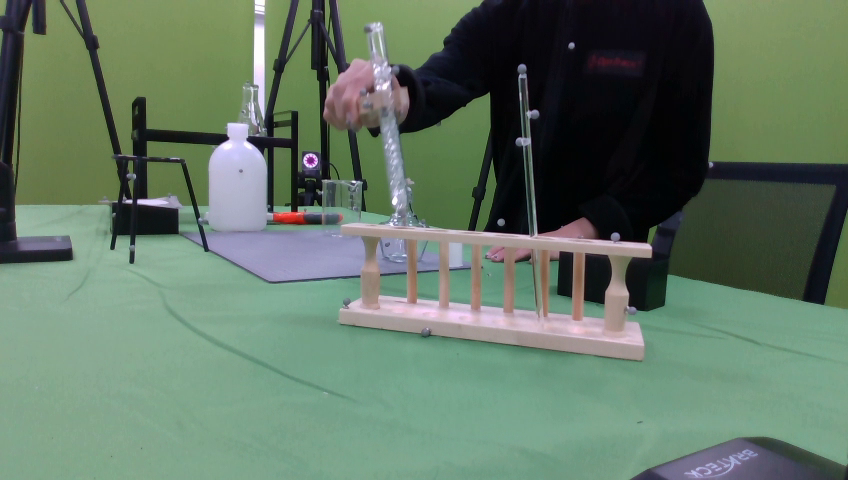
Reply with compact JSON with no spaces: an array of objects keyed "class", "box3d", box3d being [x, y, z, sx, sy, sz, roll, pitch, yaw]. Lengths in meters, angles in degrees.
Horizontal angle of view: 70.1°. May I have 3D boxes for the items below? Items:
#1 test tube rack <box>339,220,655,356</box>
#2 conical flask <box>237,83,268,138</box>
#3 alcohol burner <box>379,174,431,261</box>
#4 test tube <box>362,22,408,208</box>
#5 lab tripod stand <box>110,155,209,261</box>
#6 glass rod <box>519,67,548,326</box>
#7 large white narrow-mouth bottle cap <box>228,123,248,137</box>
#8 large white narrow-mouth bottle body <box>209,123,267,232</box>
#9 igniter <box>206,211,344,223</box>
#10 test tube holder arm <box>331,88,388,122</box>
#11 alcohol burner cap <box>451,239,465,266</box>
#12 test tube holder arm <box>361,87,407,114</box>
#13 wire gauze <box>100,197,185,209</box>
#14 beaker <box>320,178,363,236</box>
[{"class":"test tube rack","box3d":[0.056,0.032,0.495,0.242,0.085,0.067,4,7,15]},{"class":"conical flask","box3d":[-0.401,-0.299,1.406,0.075,0.122,0.075,2,7,0]},{"class":"alcohol burner","box3d":[-0.027,-0.031,0.838,0.078,0.119,0.078,0,6,0]},{"class":"test tube","box3d":[-0.031,-0.100,0.490,0.017,0.150,0.017,-9,3,1]},{"class":"lab tripod stand","box3d":[-0.362,-0.046,0.806,0.148,0.131,0.148,2,5,0]},{"class":"glass rod","box3d":[0.084,-0.029,0.459,0.008,0.199,0.008,-6,11,2]},{"class":"large white narrow-mouth bottle cap","box3d":[-0.338,-0.199,1.097,0.038,0.024,0.037,2,8,0]},{"class":"large white narrow-mouth bottle body","box3d":[-0.340,-0.115,1.109,0.102,0.194,0.102,2,8,0]},{"class":"igniter","box3d":[-0.302,-0.048,1.249,0.278,0.025,0.057,-2,-2,-27]},{"class":"test tube holder arm","box3d":[-0.063,-0.120,0.549,0.013,0.015,0.177,-9,9,-21]},{"class":"alcohol burner cap","box3d":[0.041,0.009,0.815,0.034,0.048,0.034,5,8,0]},{"class":"test tube holder arm","box3d":[-0.039,-0.117,0.511,0.010,0.015,0.087,-11,10,-29]},{"class":"wire gauze","box3d":[-0.469,-0.062,1.008,0.126,0.011,0.121,-2,8,-25]},{"class":"beaker","box3d":[-0.145,-0.059,1.079,0.074,0.100,0.083,-4,10,-36]}]
